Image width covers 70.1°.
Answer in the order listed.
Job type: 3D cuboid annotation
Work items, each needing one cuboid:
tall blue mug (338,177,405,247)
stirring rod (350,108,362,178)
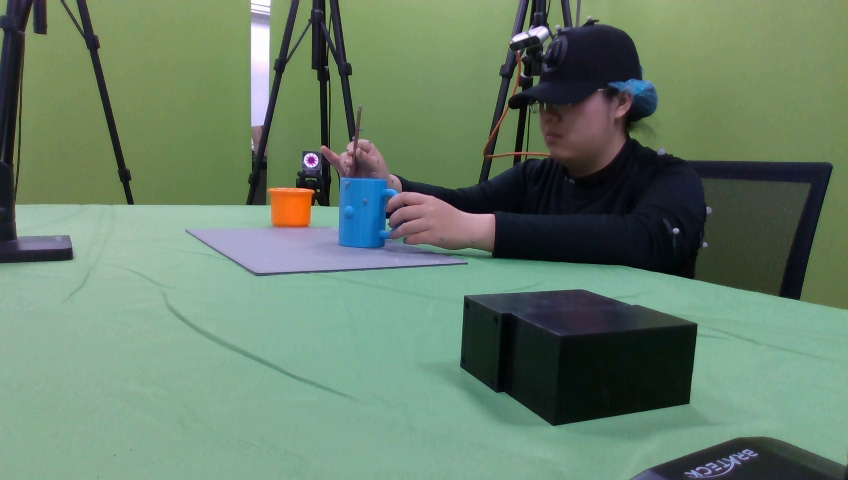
[{"bbox_3d":[-0.083,-0.045,0.973,0.107,0.108,0.078,2,6,0],"label":"tall blue mug"},{"bbox_3d":[-0.112,-0.124,0.969,0.006,0.176,0.014,6,1,-2],"label":"stirring rod"}]
